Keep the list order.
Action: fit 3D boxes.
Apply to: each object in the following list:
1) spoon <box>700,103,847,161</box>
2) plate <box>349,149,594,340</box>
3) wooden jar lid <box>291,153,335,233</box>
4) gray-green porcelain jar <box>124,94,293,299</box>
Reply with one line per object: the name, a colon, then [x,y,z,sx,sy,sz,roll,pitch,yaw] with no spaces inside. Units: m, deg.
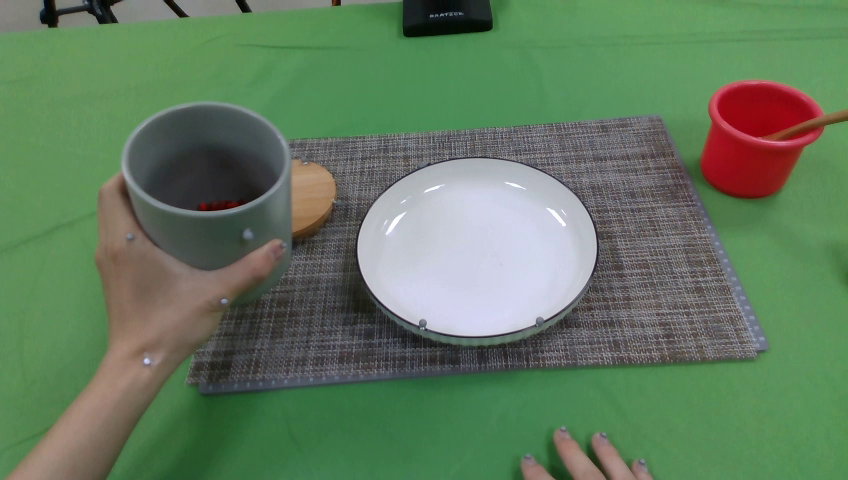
spoon: [0.335,-0.102,0.530,0.041,0.022,0.193,-49,17,-30]
plate: [0.041,0.003,0.532,0.207,0.039,0.205,-2,50,3]
wooden jar lid: [-0.141,-0.045,0.599,0.108,0.021,0.107,-2,48,2]
gray-green porcelain jar: [-0.151,-0.024,0.447,0.106,0.127,0.105,7,53,-9]
